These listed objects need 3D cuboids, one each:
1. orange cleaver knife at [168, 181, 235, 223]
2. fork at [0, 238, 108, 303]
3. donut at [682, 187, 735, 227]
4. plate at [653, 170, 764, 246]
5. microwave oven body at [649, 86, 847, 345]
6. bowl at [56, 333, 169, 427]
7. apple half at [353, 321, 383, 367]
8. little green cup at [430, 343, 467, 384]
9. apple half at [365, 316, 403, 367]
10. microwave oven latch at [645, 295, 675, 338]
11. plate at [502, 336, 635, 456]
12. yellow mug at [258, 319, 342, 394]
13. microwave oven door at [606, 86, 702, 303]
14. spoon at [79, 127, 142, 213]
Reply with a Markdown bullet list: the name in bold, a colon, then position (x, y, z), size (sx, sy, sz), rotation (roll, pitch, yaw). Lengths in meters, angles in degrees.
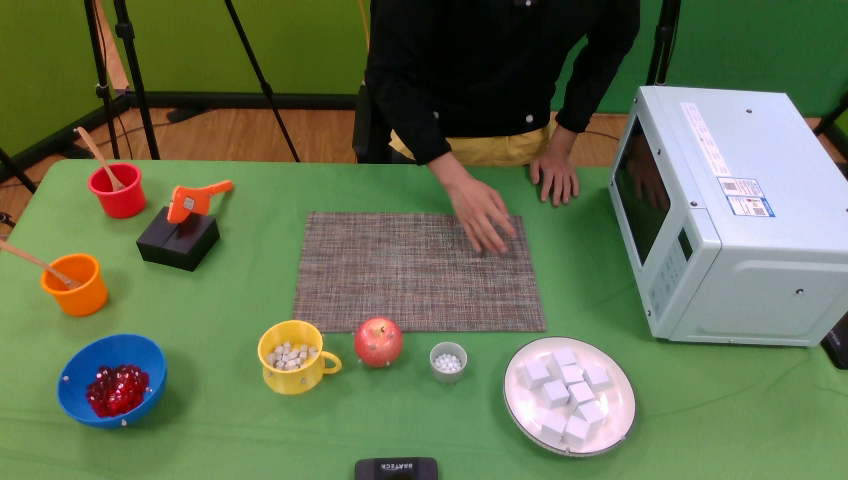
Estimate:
- **orange cleaver knife**: position (-0.436, -0.078, 1.196), size (0.012, 0.077, 0.211), rotation (16, 15, 10)
- **fork**: position (-0.633, 0.048, 1.017), size (0.208, 0.018, 0.028), rotation (40, 43, -27)
- **donut**: position (0.554, -0.066, 1.183), size (0.099, 0.048, 0.098), rotation (3, 44, -3)
- **plate**: position (0.556, -0.059, 1.196), size (0.209, 0.038, 0.208), rotation (2, 46, -1)
- **microwave oven body**: position (0.567, -0.053, 1.118), size (0.326, 0.261, 0.439), rotation (2, 45, -1)
- **bowl**: position (-0.456, 0.223, 0.912), size (0.151, 0.077, 0.150), rotation (3, 46, -2)
- **apple half**: position (-0.097, 0.177, 0.984), size (0.033, 0.081, 0.081), rotation (-16, 49, -25)
- **little green cup**: position (0.039, 0.203, 0.994), size (0.061, 0.039, 0.061), rotation (2, 46, -2)
- **apple half**: position (-0.063, 0.165, 1.000), size (0.053, 0.075, 0.080), rotation (-16, 45, -24)
- **microwave oven latch**: position (0.412, 0.134, 1.061), size (0.030, 0.029, 0.078), rotation (3, 45, 0)
- **plate**: position (0.225, 0.248, 0.963), size (0.208, 0.039, 0.206), rotation (2, 46, -2)
- **yellow mug**: position (-0.195, 0.188, 0.972), size (0.131, 0.064, 0.099), rotation (9, 47, 4)
- **microwave oven door**: position (0.423, -0.094, 1.140), size (0.039, 0.245, 0.353), rotation (2, 46, -1)
- **spoon**: position (-0.625, -0.139, 1.203), size (0.041, 0.021, 0.194), rotation (-33, 101, -26)
